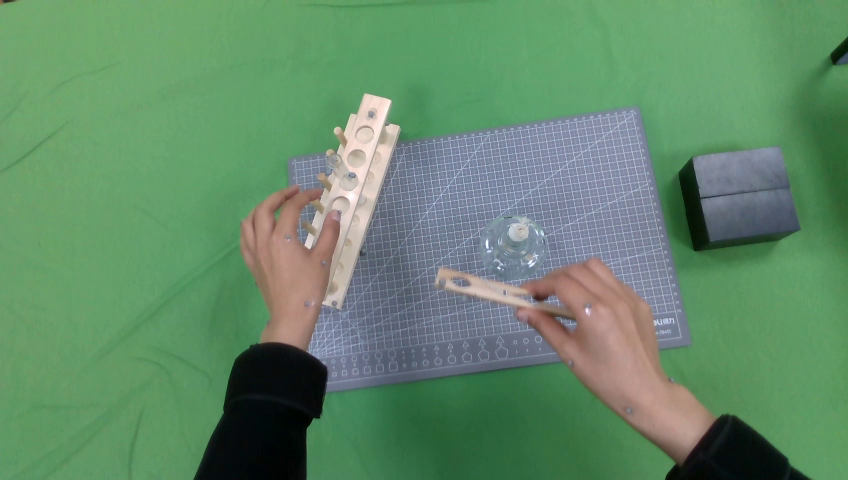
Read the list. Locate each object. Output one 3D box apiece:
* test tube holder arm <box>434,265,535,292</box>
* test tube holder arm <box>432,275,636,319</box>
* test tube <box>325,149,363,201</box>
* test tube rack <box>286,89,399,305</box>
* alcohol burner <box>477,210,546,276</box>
[{"bbox_3d":[0.052,0.036,0.526,0.088,0.015,0.010,12,69,-2],"label":"test tube holder arm"},{"bbox_3d":[0.096,0.050,0.526,0.178,0.015,0.013,11,69,-3],"label":"test tube holder arm"},{"bbox_3d":[-0.085,-0.068,0.667,0.017,0.151,0.017,-1,79,3],"label":"test tube"},{"bbox_3d":[-0.102,-0.052,0.715,0.066,0.085,0.241,16,79,9],"label":"test tube rack"},{"bbox_3d":[0.099,-0.001,0.675,0.078,0.119,0.077,-1,76,3],"label":"alcohol burner"}]
